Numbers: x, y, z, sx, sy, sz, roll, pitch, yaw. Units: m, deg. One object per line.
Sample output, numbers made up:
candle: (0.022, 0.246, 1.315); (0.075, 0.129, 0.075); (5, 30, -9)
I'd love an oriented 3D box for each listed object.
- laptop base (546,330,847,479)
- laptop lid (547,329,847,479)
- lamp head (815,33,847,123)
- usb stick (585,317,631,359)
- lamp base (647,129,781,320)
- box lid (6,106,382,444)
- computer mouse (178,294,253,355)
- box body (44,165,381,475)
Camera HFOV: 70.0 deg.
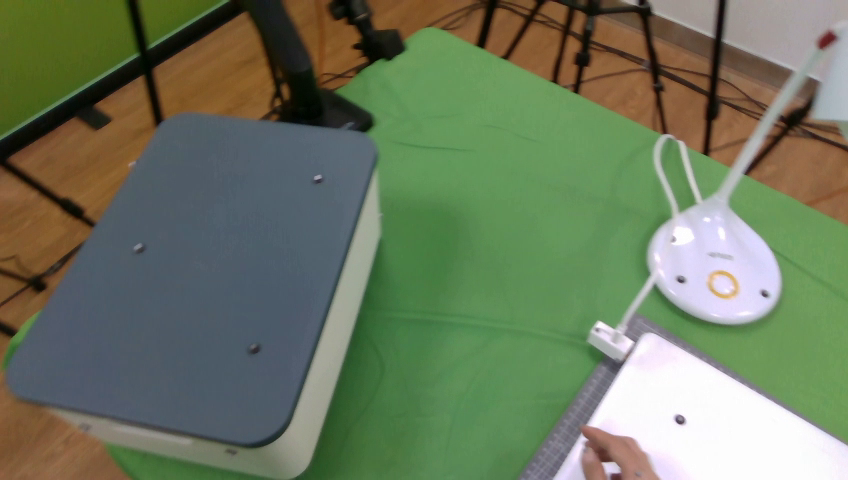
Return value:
laptop base: (0.323, 0.266, 0.597); (0.352, 0.023, 0.235); (32, 64, 21)
laptop lid: (0.321, 0.261, 0.586); (0.354, 0.013, 0.241); (33, 63, 22)
lamp head: (0.363, -0.141, 0.446); (0.112, 0.112, 0.123); (6, 98, 6)
usb stick: (0.216, 0.116, 0.690); (0.059, 0.027, 0.021); (37, 57, 20)
lamp base: (0.361, -0.026, 0.707); (0.160, 0.182, 0.177); (0, 51, 0)
box lid: (-0.207, 0.003, 0.611); (0.263, 0.015, 0.368); (9, 56, 7)
computer mouse: (-0.241, 0.089, 0.702); (0.063, 0.041, 0.116); (-16, 16, 0)
box body: (-0.206, 0.048, 0.669); (0.254, 0.162, 0.361); (9, 55, 7)
